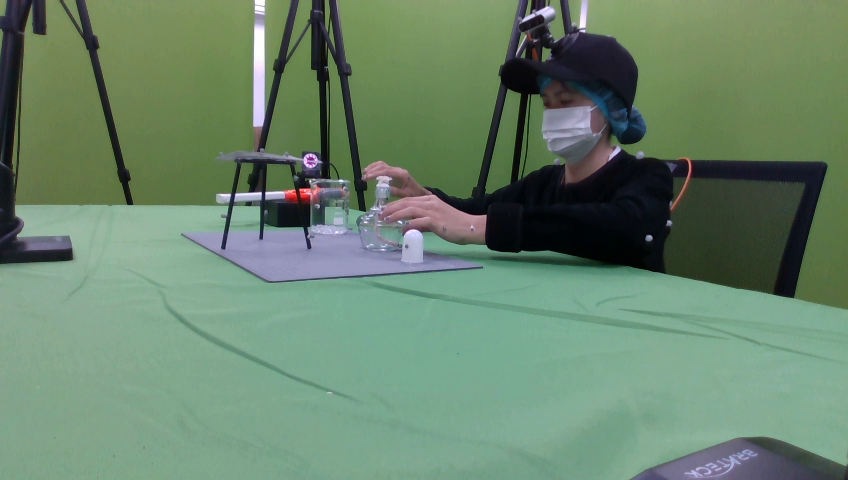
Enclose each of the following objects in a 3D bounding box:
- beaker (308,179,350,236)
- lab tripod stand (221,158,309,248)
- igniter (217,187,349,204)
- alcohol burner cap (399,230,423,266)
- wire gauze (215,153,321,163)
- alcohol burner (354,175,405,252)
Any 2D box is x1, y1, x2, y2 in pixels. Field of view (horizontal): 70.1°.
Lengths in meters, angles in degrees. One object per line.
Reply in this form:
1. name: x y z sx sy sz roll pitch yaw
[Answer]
1. beaker: -0.176 -0.060 1.104 0.073 0.100 0.084 8 10 40
2. lab tripod stand: -0.244 -0.057 0.917 0.148 0.131 0.148 1 7 0
3. igniter: -0.285 -0.093 1.256 0.278 0.025 0.057 -6 12 -34
4. alcohol burner cap: -0.017 0.010 0.837 0.034 0.048 0.034 3 7 0
5. wire gauze: -0.235 -0.123 0.906 0.126 0.011 0.121 -2 7 -33
6. alcohol burner: -0.068 -0.042 0.941 0.078 0.119 0.078 4 6 0
